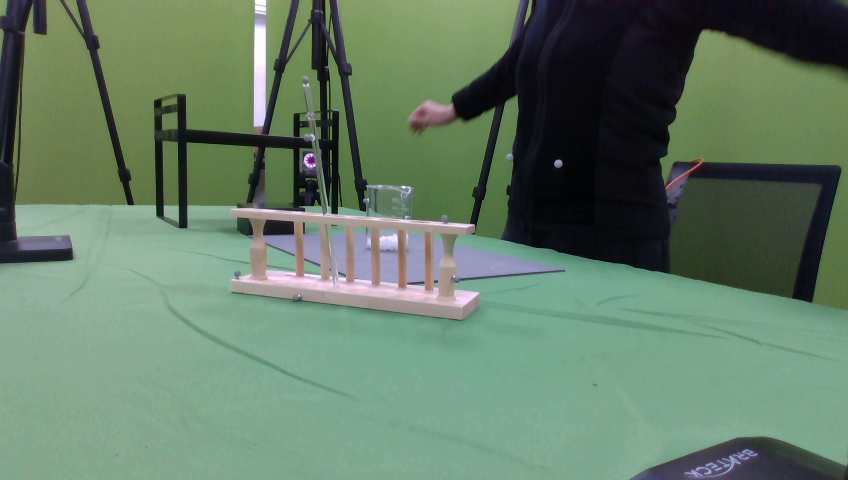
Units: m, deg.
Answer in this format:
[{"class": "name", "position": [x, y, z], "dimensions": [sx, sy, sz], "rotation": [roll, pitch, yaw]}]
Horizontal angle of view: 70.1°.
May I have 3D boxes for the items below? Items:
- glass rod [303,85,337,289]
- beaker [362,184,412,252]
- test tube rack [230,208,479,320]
[{"class": "glass rod", "position": [-0.100, -0.047, 0.578], "dimensions": [0.008, 0.199, 0.008], "rotation": [-6, 8, 1]}, {"class": "beaker", "position": [-0.055, -0.034, 0.935], "dimensions": [0.083, 0.100, 0.074], "rotation": [10, 11, 44]}, {"class": "test tube rack", "position": [-0.069, 0.017, 0.598], "dimensions": [0.242, 0.085, 0.067], "rotation": [5, 8, 18]}]
